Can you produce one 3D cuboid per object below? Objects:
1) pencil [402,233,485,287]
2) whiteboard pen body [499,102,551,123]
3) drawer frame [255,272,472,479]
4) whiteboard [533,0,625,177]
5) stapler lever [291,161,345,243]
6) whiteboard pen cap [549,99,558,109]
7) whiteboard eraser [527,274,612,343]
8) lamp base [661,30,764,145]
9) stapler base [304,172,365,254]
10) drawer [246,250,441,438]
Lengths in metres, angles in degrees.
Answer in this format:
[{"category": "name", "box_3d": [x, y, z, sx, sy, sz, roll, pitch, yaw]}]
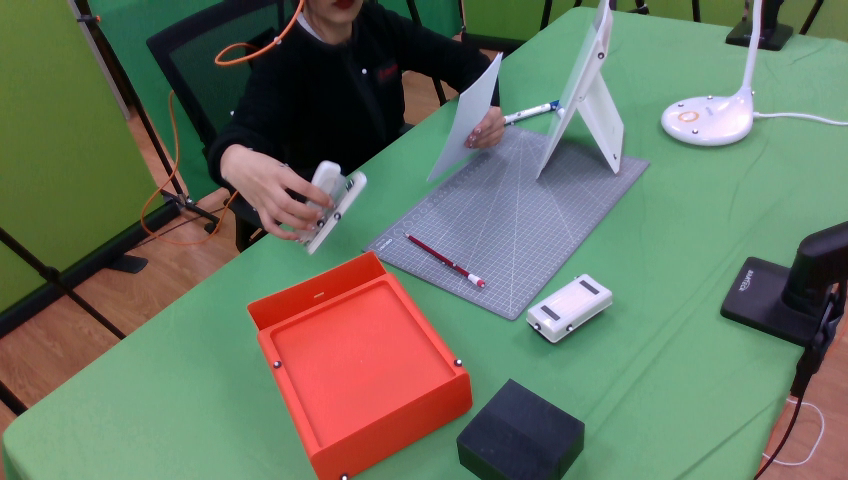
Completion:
[{"category": "pencil", "box_3d": [0.026, 0.028, 0.949, 0.012, 0.012, 0.192, -34, 44, -26]}, {"category": "whiteboard pen body", "box_3d": [0.221, -0.268, 1.257, 0.141, 0.017, 0.017, -19, 41, -13]}, {"category": "drawer frame", "box_3d": [-0.079, 0.161, 0.760, 0.202, 0.083, 0.211, -24, 43, -18]}, {"category": "whiteboard", "box_3d": [0.321, -0.258, 1.049, 0.144, 0.306, 0.217, 20, 45, 4]}, {"category": "stapler lever", "box_3d": [-0.149, -0.053, 0.816, 0.118, 0.040, 0.026, -54, 25, 9]}, {"category": "whiteboard pen cap", "box_3d": [0.275, -0.286, 1.267, 0.033, 0.018, 0.018, -17, 41, -12]}, {"category": "whiteboard eraser", "box_3d": [0.198, 0.094, 0.820, 0.113, 0.042, 0.055, -29, 43, -22]}, {"category": "lamp base", "box_3d": [0.535, -0.287, 1.096, 0.179, 0.181, 0.159, -10, 40, -4]}, {"category": "stapler base", "box_3d": [-0.129, -0.042, 0.828, 0.130, 0.024, 0.041, -53, 25, 8]}, {"category": "drawer", "box_3d": [-0.109, 0.130, 0.805, 0.195, 0.073, 0.210, -23, 43, -18]}]
